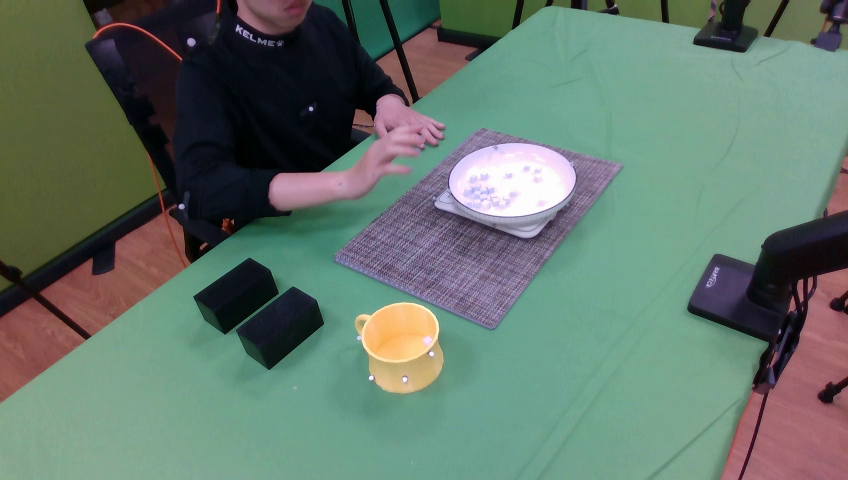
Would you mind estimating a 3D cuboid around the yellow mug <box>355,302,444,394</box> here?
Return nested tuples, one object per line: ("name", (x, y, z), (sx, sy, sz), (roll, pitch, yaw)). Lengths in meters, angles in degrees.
("yellow mug", (-0.040, 0.133, 0.786), (0.130, 0.064, 0.100), (20, 47, 29))

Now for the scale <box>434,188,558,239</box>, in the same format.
("scale", (0.132, -0.075, 1.025), (0.199, 0.032, 0.149), (22, 48, 30))

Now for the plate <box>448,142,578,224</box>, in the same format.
("plate", (0.145, -0.089, 0.989), (0.209, 0.038, 0.208), (-4, 41, 4))
